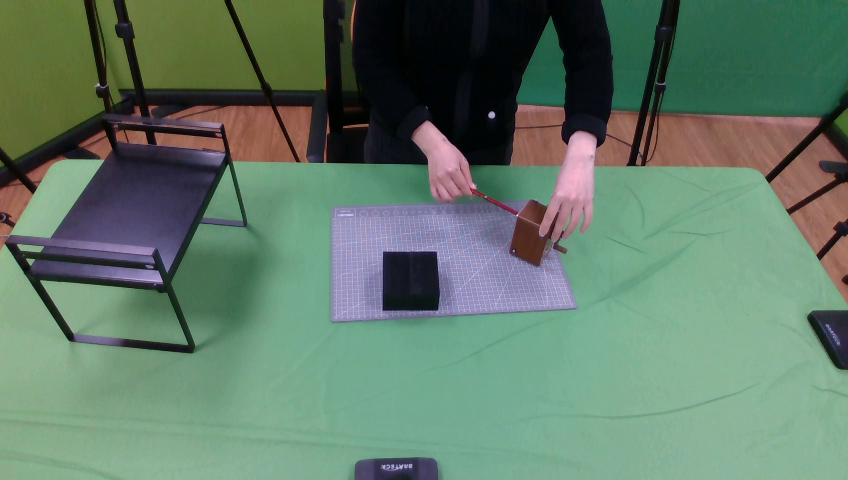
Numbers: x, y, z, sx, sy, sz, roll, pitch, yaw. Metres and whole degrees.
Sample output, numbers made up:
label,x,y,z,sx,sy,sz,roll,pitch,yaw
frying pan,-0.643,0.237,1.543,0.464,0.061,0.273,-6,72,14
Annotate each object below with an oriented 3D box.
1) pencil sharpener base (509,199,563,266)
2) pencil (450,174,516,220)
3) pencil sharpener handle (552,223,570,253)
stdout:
label,x,y,z,sx,sy,sz,roll,pitch,yaw
pencil sharpener base,0.216,-0.012,1.160,0.076,0.107,0.061,27,50,21
pencil,0.127,-0.075,1.171,0.193,0.012,0.012,37,54,20
pencil sharpener handle,0.261,-0.002,1.135,0.030,0.068,0.036,27,64,21
